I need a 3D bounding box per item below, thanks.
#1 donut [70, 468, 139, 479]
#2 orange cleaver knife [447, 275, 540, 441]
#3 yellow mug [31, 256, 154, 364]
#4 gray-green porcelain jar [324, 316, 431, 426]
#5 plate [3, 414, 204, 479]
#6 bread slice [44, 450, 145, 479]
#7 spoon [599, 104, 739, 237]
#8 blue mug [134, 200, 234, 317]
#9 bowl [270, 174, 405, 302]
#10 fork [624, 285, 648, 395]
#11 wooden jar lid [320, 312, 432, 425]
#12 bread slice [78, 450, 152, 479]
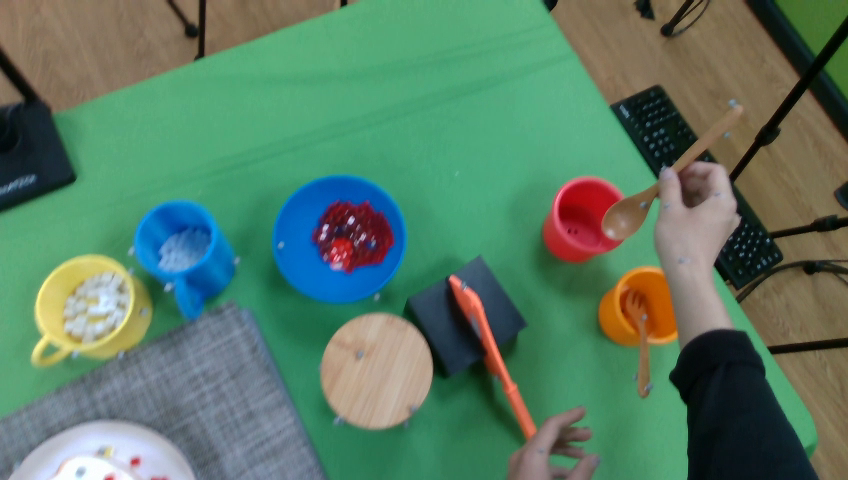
[{"bbox_3d":[-0.318,0.274,0.592,0.099,0.048,0.098,10,60,-18],"label":"donut"},{"bbox_3d":[0.078,0.135,0.694,0.012,0.077,0.212,-29,104,-16],"label":"orange cleaver knife"},{"bbox_3d":[-0.371,0.085,0.664,0.099,0.064,0.130,39,73,7],"label":"yellow mug"},{"bbox_3d":[-0.052,0.145,0.652,0.106,0.127,0.105,2,72,-7],"label":"gray-green porcelain jar"},{"bbox_3d":[-0.326,0.285,0.616,0.209,0.038,0.208,2,72,-6],"label":"plate"},{"bbox_3d":[-0.324,0.266,0.561,0.107,0.018,0.133,27,65,-4],"label":"bread slice"},{"bbox_3d":[0.260,-0.070,0.650,0.022,0.194,0.041,-22,67,-44],"label":"spoon"},{"bbox_3d":[-0.262,0.028,0.675,0.082,0.106,0.116,-7,73,-8],"label":"blue mug"},{"bbox_3d":[-0.100,0.007,0.715,0.151,0.077,0.150,2,72,-6],"label":"bowl"},{"bbox_3d":[0.243,0.107,0.688,0.028,0.019,0.206,34,28,-1],"label":"fork"},{"bbox_3d":[-0.047,0.125,0.593,0.108,0.021,0.108,3,73,-9],"label":"wooden jar lid"},{"bbox_3d":[-0.330,0.298,0.617,0.105,0.019,0.131,28,68,4],"label":"bread slice"}]
